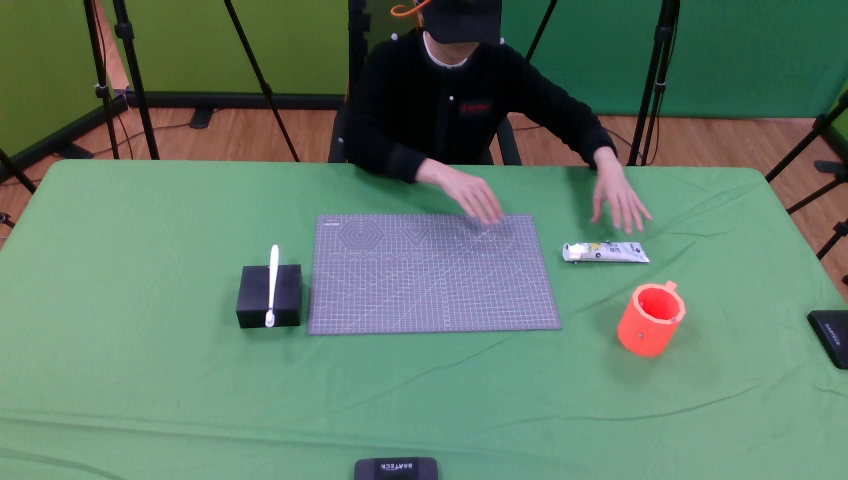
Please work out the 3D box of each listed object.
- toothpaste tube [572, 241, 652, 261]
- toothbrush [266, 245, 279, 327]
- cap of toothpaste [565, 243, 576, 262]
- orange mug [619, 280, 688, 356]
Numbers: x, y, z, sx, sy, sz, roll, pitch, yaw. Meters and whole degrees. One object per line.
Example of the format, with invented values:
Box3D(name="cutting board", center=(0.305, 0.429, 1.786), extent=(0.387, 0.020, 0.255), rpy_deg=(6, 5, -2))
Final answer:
Box3D(name="toothpaste tube", center=(0.363, 0.024, 1.192), extent=(0.165, 0.035, 0.054), rpy_deg=(-2, 50, -11))
Box3D(name="toothbrush", center=(-0.261, 0.073, 1.042), extent=(0.014, 0.017, 0.180), rpy_deg=(-6, 46, -3))
Box3D(name="cap of toothpaste", center=(0.285, 0.024, 1.178), extent=(0.011, 0.037, 0.037), rpy_deg=(-3, 46, -11))
Box3D(name="orange mug", center=(0.401, 0.125, 1.045), extent=(0.083, 0.101, 0.126), rpy_deg=(30, 56, 24))
